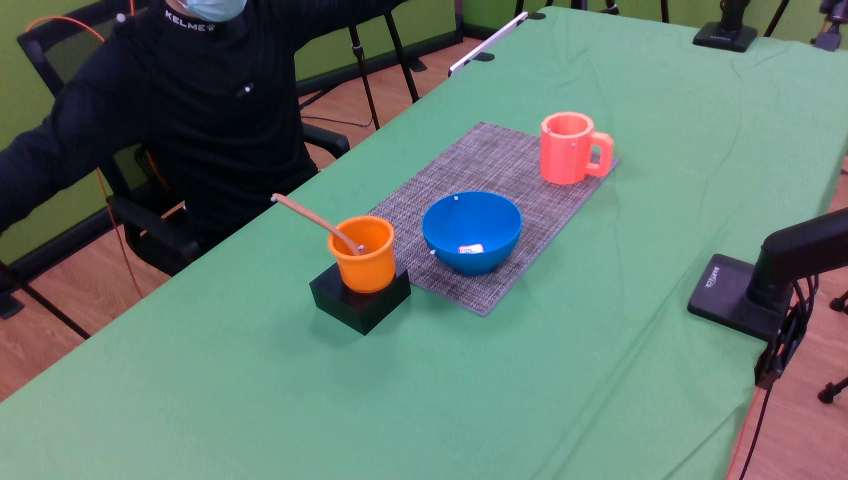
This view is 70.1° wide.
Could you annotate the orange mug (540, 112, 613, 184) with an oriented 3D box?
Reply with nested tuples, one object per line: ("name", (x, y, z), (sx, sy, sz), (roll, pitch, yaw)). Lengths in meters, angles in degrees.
("orange mug", (0.263, -0.157, 1.050), (0.125, 0.101, 0.083), (14, 45, 29))

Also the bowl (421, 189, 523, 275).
("bowl", (0.073, -0.001, 0.910), (0.151, 0.077, 0.150), (-4, 41, 4))

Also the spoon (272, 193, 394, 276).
("spoon", (-0.122, -0.009, 0.822), (0.021, 0.195, 0.041), (-38, 23, 37))
